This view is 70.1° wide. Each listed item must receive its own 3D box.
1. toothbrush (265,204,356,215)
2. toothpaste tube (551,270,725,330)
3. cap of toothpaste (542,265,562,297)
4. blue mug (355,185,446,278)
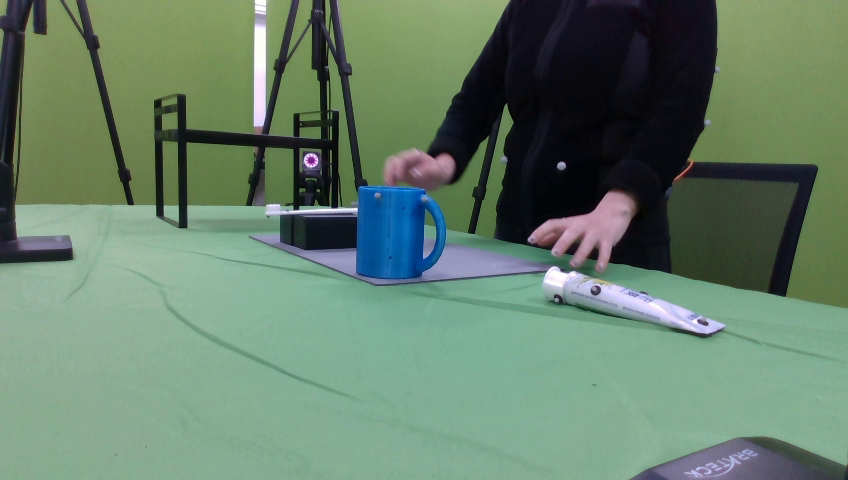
[{"bbox_3d":[-0.160,-0.048,0.937,0.183,0.016,0.014,-4,4,-39],"label":"toothbrush"},{"bbox_3d":[0.193,0.058,0.578,0.164,0.034,0.055,13,17,40],"label":"toothpaste tube"},{"bbox_3d":[0.137,0.044,0.630,0.011,0.037,0.037,13,13,40],"label":"cap of toothpaste"},{"bbox_3d":[-0.027,-0.011,0.723,0.116,0.106,0.083,7,8,27],"label":"blue mug"}]
